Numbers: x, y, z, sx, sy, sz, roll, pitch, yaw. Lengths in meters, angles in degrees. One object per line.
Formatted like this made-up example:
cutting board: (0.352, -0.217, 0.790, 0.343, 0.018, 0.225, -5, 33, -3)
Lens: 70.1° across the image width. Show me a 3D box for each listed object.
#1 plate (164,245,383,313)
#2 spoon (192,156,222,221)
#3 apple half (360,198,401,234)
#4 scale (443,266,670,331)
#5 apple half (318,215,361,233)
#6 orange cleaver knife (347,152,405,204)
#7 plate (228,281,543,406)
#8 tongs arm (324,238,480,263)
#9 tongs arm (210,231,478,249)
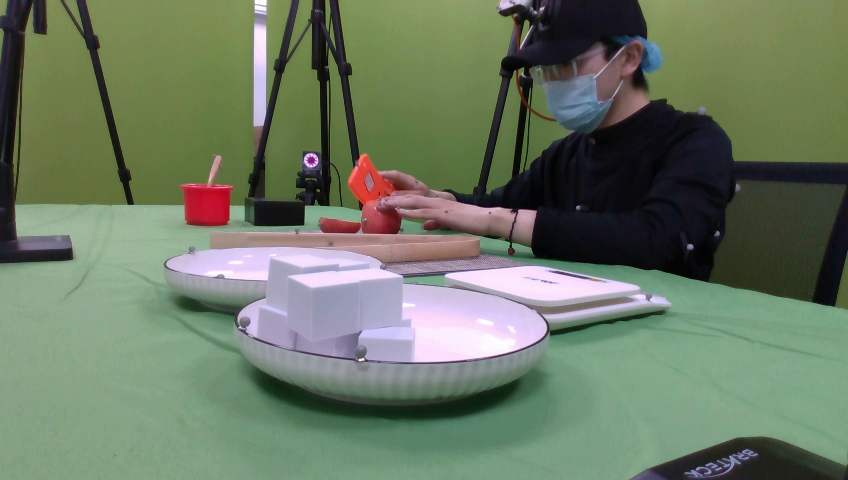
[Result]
plate: (-0.145, 0.038, 0.600, 0.209, 0.038, 0.209, 2, 7, 0)
spoon: (-0.430, -0.108, 1.222, 0.041, 0.021, 0.193, -2, 52, 1)
apple half: (-0.066, -0.032, 1.014, 0.053, 0.074, 0.081, 9, 6, 20)
scale: (0.131, 0.052, 0.603, 0.202, 0.031, 0.148, -2, 9, -37)
apple half: (-0.147, -0.019, 1.035, 0.081, 0.033, 0.081, 10, -6, 1)
orange cleaver knife: (-0.081, -0.087, 1.063, 0.012, 0.077, 0.212, 12, -10, 22)
plate: (-0.025, 0.067, 0.413, 0.208, 0.039, 0.207, 3, 7, 0)
tongs arm: (-0.070, 0.017, 0.801, 0.390, 0.028, 0.028, -2, 5, -34)
tongs arm: (-0.106, 0.004, 0.876, 0.386, 0.026, 0.050, 0, 7, -20)
